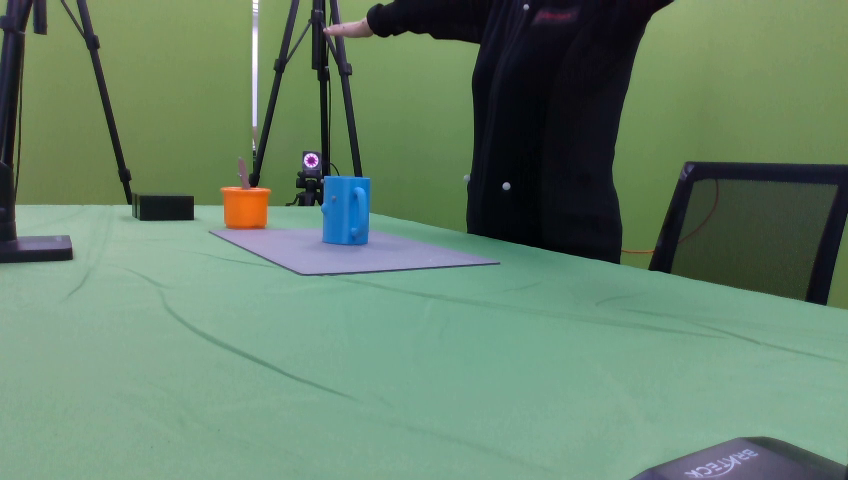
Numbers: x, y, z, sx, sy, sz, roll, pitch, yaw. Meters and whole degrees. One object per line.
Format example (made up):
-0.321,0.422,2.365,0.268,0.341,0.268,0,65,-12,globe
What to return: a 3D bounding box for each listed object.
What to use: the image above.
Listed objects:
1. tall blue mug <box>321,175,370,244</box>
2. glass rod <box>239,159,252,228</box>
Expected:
-0.116,-0.049,0.991,0.106,0.108,0.078,7,8,33,tall blue mug
-0.346,-0.092,1.170,0.008,0.008,0.199,-1,46,-23,glass rod
